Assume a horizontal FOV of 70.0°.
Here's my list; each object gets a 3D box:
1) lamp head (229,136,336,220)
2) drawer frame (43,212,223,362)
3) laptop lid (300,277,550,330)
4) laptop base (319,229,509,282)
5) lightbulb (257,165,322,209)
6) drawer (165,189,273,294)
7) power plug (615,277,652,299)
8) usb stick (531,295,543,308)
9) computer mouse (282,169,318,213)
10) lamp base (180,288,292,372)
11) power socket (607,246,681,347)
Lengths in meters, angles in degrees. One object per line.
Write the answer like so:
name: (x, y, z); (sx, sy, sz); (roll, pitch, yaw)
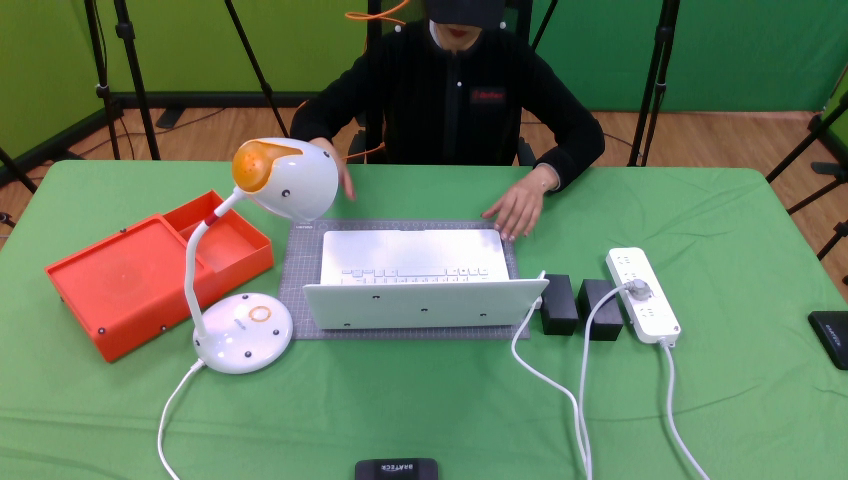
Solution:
lamp head: (-0.195, -0.085, 0.791); (0.112, 0.112, 0.123); (36, 15, 27)
drawer frame: (-0.497, 0.073, 1.049); (0.213, 0.083, 0.200); (-34, 57, -31)
laptop lid: (-0.002, 0.103, 0.943); (0.357, 0.242, 0.013); (0, 67, -6)
laptop base: (-0.017, 0.067, 1.133); (0.355, 0.023, 0.234); (-1, 42, -5)
lightbulb: (-0.181, -0.074, 0.809); (0.059, 0.059, 0.108); (34, 12, 26)
drawer: (-0.419, 0.022, 1.108); (0.193, 0.073, 0.211); (37, 55, 27)
power plug: (0.375, 0.088, 1.096); (0.072, 0.053, 0.035); (6, 46, 2)
usb stick: (0.181, 0.108, 1.089); (0.059, 0.027, 0.021); (-1, 46, -6)
computer mouse: (-0.259, -0.106, 1.272); (0.063, 0.041, 0.116); (3, 50, -3)
lamp base: (-0.309, 0.108, 0.959); (0.160, 0.181, 0.179); (29, 55, 22)
power socket: (0.403, 0.096, 1.123); (0.072, 0.033, 0.225); (-3, 47, -5)
